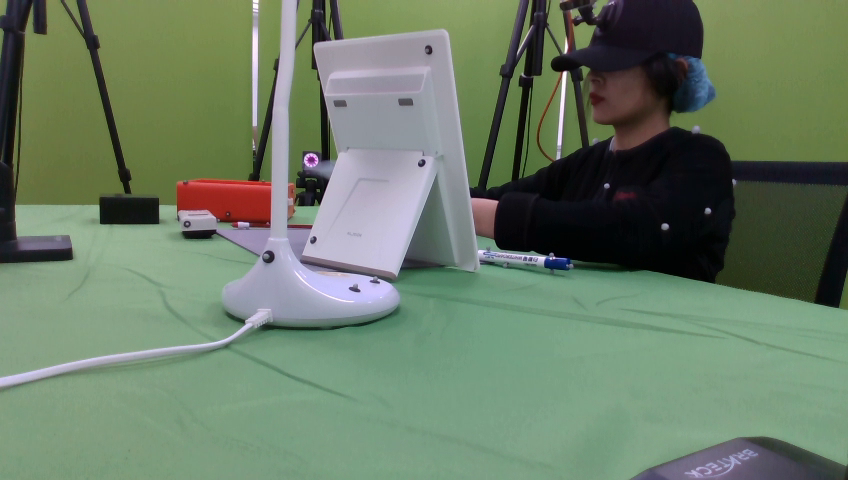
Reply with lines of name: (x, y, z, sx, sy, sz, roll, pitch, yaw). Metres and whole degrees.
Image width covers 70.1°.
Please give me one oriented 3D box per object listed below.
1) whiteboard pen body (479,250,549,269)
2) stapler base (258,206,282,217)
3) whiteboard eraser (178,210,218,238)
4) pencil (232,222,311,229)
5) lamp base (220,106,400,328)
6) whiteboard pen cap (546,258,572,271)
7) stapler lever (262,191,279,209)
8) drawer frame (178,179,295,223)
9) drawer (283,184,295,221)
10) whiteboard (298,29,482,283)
whiteboard pen body: (0.130, 0.028, 0.827, 0.140, 0.017, 0.017, 6, 8, 38)
stapler base: (-0.331, -0.065, 1.305, 0.041, 0.024, 0.130, 9, -1, -9)
whiteboard eraser: (-0.380, -0.027, 1.014, 0.056, 0.042, 0.112, 0, 8, -25)
pencil: (-0.261, -0.025, 1.141, 0.195, 0.012, 0.012, 2, 7, -26)
lamp base: (-0.101, -0.023, 0.531, 0.160, 0.180, 0.179, 4, 10, 10)
whiteboard pen cap: (0.175, 0.032, 0.790, 0.033, 0.018, 0.018, 3, 7, 37)
stapler lever: (-0.329, -0.086, 1.306, 0.027, 0.040, 0.118, 9, 3, -9)
drawer frame: (-0.397, -0.088, 1.315, 0.214, 0.082, 0.201, 1, 8, -7)
drawer: (-0.394, -0.087, 1.317, 0.212, 0.073, 0.194, 1, 8, -7)
whiteboard: (-0.075, -0.082, 0.742, 0.216, 0.305, 0.144, 9, 29, 37)
